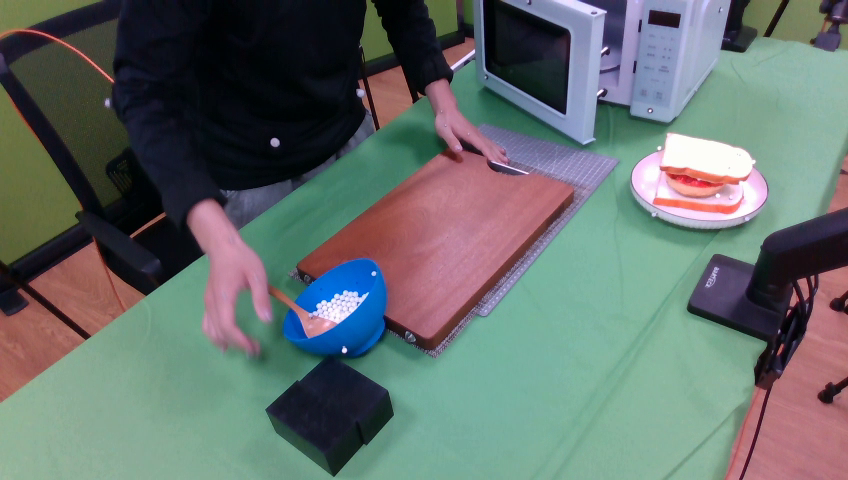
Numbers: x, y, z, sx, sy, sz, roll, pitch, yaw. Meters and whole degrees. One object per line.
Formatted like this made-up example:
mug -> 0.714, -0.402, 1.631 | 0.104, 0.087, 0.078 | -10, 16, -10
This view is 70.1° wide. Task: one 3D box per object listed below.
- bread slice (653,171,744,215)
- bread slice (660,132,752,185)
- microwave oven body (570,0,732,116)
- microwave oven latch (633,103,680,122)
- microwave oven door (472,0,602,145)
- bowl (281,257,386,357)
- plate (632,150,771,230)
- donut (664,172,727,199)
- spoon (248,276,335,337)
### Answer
bread slice -> 0.452, -0.084, 0.992 | 0.131, 0.019, 0.105 | 11, 45, 21
bread slice -> 0.443, -0.126, 0.951 | 0.134, 0.018, 0.107 | 14, 43, 14
microwave oven body -> 0.377, -0.463, 1.267 | 0.438, 0.261, 0.327 | 21, 49, 30
microwave oven latch -> 0.443, -0.249, 1.157 | 0.078, 0.029, 0.030 | 21, 49, 30
microwave oven door -> 0.206, -0.362, 1.166 | 0.039, 0.245, 0.352 | -25, 44, -20
bowl -> -0.105, 0.102, 0.802 | 0.151, 0.077, 0.150 | -26, 27, 15
plate -> 0.447, -0.081, 0.988 | 0.207, 0.039, 0.206 | -4, 40, 4
donut -> 0.438, -0.105, 0.972 | 0.099, 0.048, 0.098 | -8, 42, 8
spoon -> -0.183, 0.089, 0.823 | 0.192, 0.022, 0.042 | 31, 56, 33
